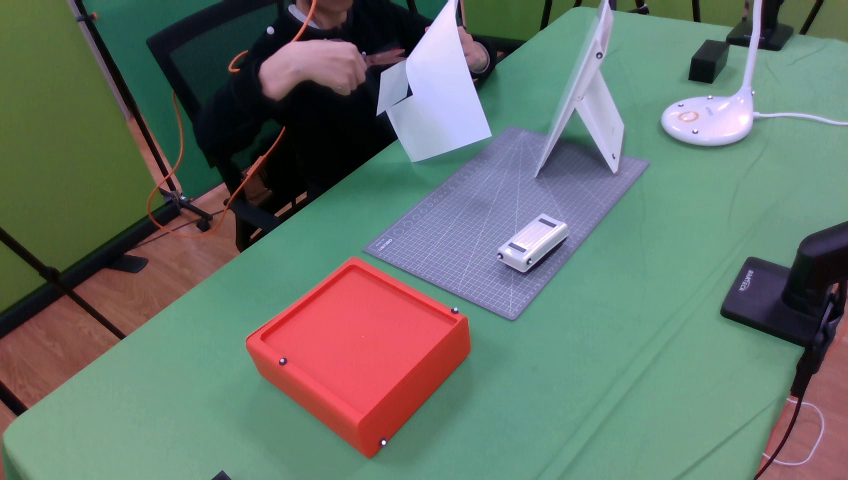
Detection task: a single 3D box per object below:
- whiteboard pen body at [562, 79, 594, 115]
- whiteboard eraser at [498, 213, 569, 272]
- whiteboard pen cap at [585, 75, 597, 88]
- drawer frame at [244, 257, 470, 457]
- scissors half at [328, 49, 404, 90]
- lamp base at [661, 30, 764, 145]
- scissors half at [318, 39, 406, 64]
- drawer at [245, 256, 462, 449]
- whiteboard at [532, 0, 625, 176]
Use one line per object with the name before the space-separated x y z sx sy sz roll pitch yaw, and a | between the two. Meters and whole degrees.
whiteboard pen body | 0.328 -0.306 1.278 0.017 0.017 0.141 20 52 30
whiteboard eraser | 0.168 0.006 0.923 0.113 0.042 0.055 -36 48 -28
whiteboard pen cap | 0.362 -0.343 1.310 0.018 0.018 0.033 20 54 30
drawer frame | -0.084 0.138 0.788 0.212 0.083 0.202 25 50 33
scissors half | -0.095 -0.298 1.041 0.176 0.040 0.012 -38 20 -34
lamp base | 0.535 -0.287 1.096 0.179 0.181 0.159 -10 40 -4
scissors half | -0.102 -0.319 1.039 0.176 0.040 0.012 -5 -5 -38
drawer | -0.089 0.136 0.792 0.210 0.073 0.195 27 51 34
whiteboard | 0.320 -0.259 1.050 0.144 0.306 0.217 21 45 5
